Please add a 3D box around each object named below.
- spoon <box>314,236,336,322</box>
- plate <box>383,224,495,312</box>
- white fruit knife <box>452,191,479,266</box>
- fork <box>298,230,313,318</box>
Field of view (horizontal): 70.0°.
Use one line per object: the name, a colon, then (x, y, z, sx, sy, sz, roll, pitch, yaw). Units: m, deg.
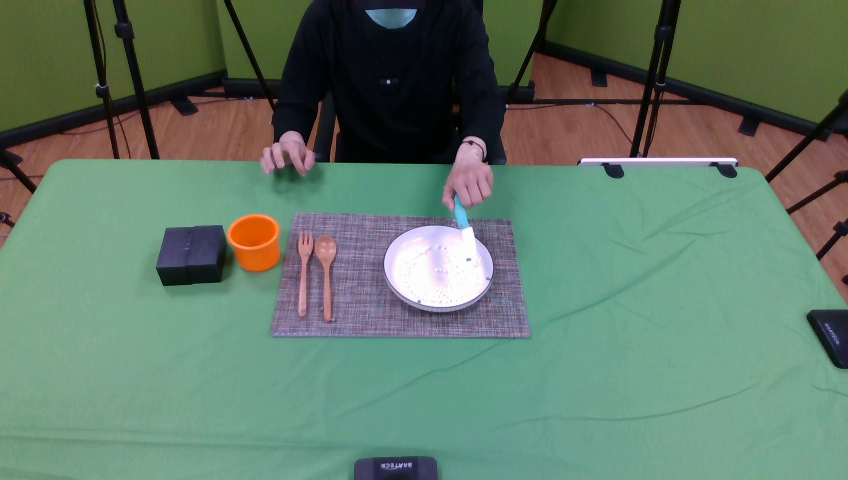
spoon: (-0.180, 0.068, 1.111, 0.042, 0.022, 0.192, 10, 43, -20)
plate: (0.026, 0.055, 1.128, 0.209, 0.038, 0.208, 2, 46, -2)
white fruit knife: (0.076, -0.024, 1.113, 0.027, 0.016, 0.206, 0, 42, -9)
fork: (-0.222, 0.058, 1.121, 0.028, 0.019, 0.206, 2, 44, -10)
